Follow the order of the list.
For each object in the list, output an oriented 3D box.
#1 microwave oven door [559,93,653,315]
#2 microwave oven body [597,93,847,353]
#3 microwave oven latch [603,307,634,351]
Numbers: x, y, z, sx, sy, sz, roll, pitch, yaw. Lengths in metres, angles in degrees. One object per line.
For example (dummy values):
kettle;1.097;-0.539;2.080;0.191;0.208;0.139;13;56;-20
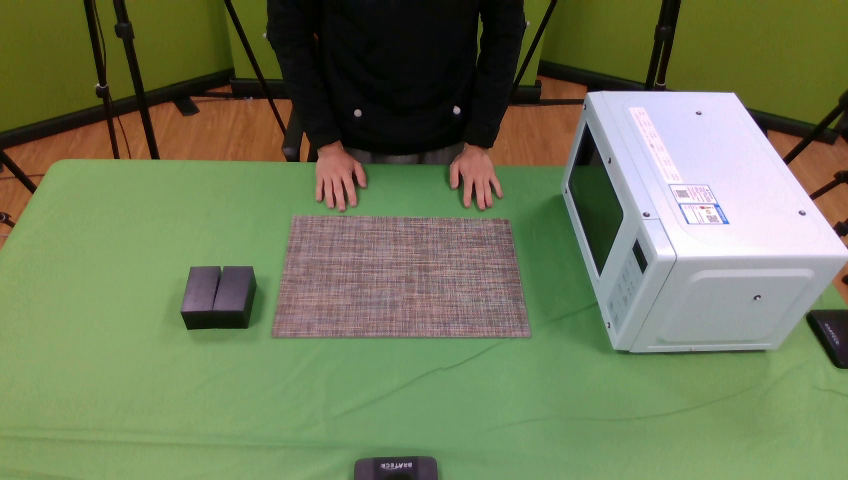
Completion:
microwave oven door;0.327;-0.074;1.123;0.039;0.245;0.353;-1;46;-5
microwave oven body;0.475;-0.041;1.109;0.326;0.261;0.438;-1;45;-4
microwave oven latch;0.332;0.153;1.043;0.030;0.029;0.078;0;45;-4
